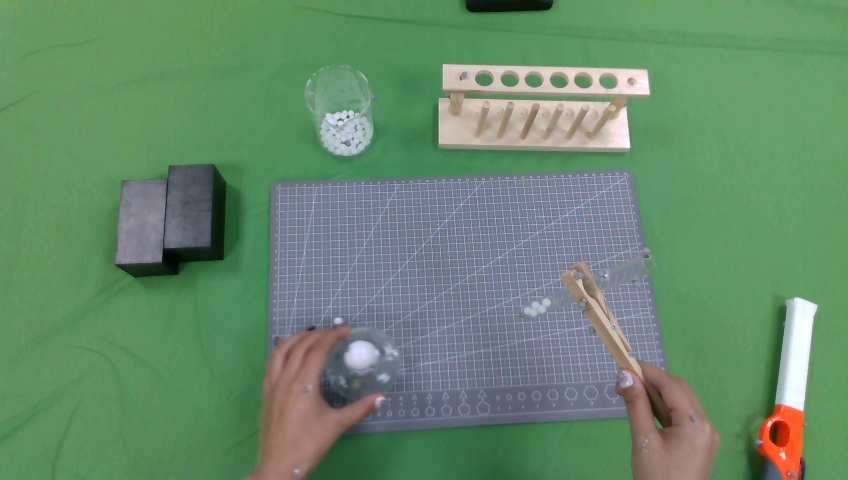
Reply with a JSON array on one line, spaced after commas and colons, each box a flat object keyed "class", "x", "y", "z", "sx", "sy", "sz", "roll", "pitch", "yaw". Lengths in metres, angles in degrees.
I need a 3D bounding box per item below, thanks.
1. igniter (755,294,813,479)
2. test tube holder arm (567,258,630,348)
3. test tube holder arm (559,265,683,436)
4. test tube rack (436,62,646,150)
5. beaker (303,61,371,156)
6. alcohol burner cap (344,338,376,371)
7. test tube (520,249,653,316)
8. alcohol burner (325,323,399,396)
[{"class": "igniter", "x": 0.400, "y": 0.192, "z": 0.673, "sx": 0.057, "sy": 0.025, "sz": 0.275, "roll": 21, "pitch": 72, "yaw": -6}, {"class": "test tube holder arm", "x": 0.149, "y": 0.056, "z": 0.516, "sx": 0.010, "sy": 0.015, "sz": 0.088, "roll": -30, "pitch": 93, "yaw": -36}, {"class": "test tube holder arm", "x": 0.169, "y": 0.097, "z": 0.517, "sx": 0.013, "sy": 0.015, "sz": 0.179, "roll": -39, "pitch": 98, "yaw": -35}, {"class": "test tube rack", "x": 0.138, "y": -0.162, "z": 0.743, "sx": 0.242, "sy": 0.085, "sz": 0.066, "roll": 1, "pitch": 72, "yaw": -2}, {"class": "beaker", "x": -0.099, "y": -0.149, "z": 0.719, "sx": 0.074, "sy": 0.101, "sz": 0.083, "roll": 0, "pitch": 72, "yaw": -3}, {"class": "alcohol burner cap", "x": -0.063, "y": 0.111, "z": 0.589, "sx": 0.034, "sy": 0.048, "sz": 0.033, "roll": 1, "pitch": 77, "yaw": -3}, {"class": "test tube", "x": 0.131, "y": 0.040, "z": 0.516, "sx": 0.017, "sy": 0.150, "sz": 0.017, "roll": 13, "pitch": 63, "yaw": -27}, {"class": "alcohol burner", "x": -0.065, "y": 0.121, "z": 0.624, "sx": 0.078, "sy": 0.119, "sz": 0.077, "roll": 1, "pitch": 71, "yaw": -4}]
